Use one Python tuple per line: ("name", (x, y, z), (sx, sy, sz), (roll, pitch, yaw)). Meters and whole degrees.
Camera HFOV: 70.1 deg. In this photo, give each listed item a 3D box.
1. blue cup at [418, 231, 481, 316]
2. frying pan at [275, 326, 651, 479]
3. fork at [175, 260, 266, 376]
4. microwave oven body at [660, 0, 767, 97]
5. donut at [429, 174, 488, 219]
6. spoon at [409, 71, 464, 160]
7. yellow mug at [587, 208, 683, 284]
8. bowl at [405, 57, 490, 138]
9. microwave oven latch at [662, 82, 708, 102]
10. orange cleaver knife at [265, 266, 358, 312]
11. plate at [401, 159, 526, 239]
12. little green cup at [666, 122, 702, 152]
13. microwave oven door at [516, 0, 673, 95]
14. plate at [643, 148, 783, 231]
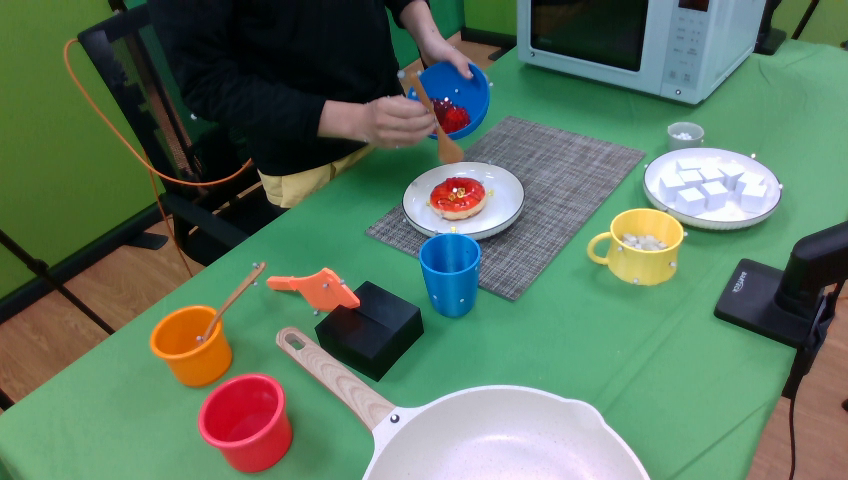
("blue cup", (0.040, 0.053, 0.843), (0.092, 0.100, 0.092), (-4, 43, 4))
("frying pan", (0.003, 0.229, 0.641), (0.484, 0.103, 0.308), (34, 54, 28))
("fork", (-0.268, 0.103, 0.792), (0.207, 0.019, 0.028), (-51, 41, 16))
("microwave oven body", (0.473, -0.516, 1.313), (0.438, 0.261, 0.327), (26, 51, 34))
("donut", (0.058, -0.075, 1.015), (0.099, 0.048, 0.098), (-6, 37, 5))
("spoon", (0.016, -0.180, 0.902), (0.041, 0.195, 0.021), (-13, 51, 17))
("yellow mug", (0.305, 0.009, 0.884), (0.131, 0.064, 0.099), (-4, 41, 5))
("bowl", (0.050, -0.235, 1.067), (0.151, 0.077, 0.151), (-6, 69, 16))
("microwave oven latch", (0.518, -0.298, 1.203), (0.078, 0.029, 0.030), (29, 53, 35))
("orange cleaver knife", (-0.164, 0.073, 0.864), (0.210, 0.077, 0.012), (-6, 31, 50))
("plate", (0.067, -0.065, 1.019), (0.209, 0.038, 0.208), (-4, 40, 4))
("little green cup", (0.471, -0.184, 1.102), (0.061, 0.039, 0.061), (-5, 40, 4))
("microwave oven door", (0.344, -0.458, 1.256), (0.353, 0.245, 0.039), (26, 51, 33))
("plate", (0.464, -0.080, 0.986), (0.207, 0.039, 0.206), (-4, 40, 4))
